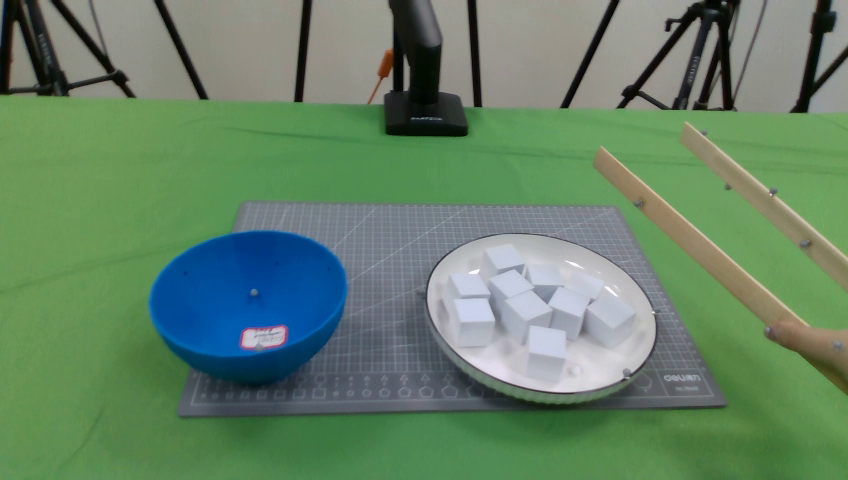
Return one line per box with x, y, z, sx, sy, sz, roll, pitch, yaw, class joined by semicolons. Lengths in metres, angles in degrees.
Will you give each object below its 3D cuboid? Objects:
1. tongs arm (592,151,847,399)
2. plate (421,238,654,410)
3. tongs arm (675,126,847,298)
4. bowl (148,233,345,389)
0.262;0.044;0.466;0.028;0.028;0.383;-19;50;-25;tongs arm
0.100;0.074;0.553;0.208;0.039;0.205;3;37;-2;plate
0.314;0.027;0.484;0.051;0.027;0.380;-16;49;-19;tongs arm
-0.139;0.069;0.501;0.151;0.077;0.150;3;37;-2;bowl
